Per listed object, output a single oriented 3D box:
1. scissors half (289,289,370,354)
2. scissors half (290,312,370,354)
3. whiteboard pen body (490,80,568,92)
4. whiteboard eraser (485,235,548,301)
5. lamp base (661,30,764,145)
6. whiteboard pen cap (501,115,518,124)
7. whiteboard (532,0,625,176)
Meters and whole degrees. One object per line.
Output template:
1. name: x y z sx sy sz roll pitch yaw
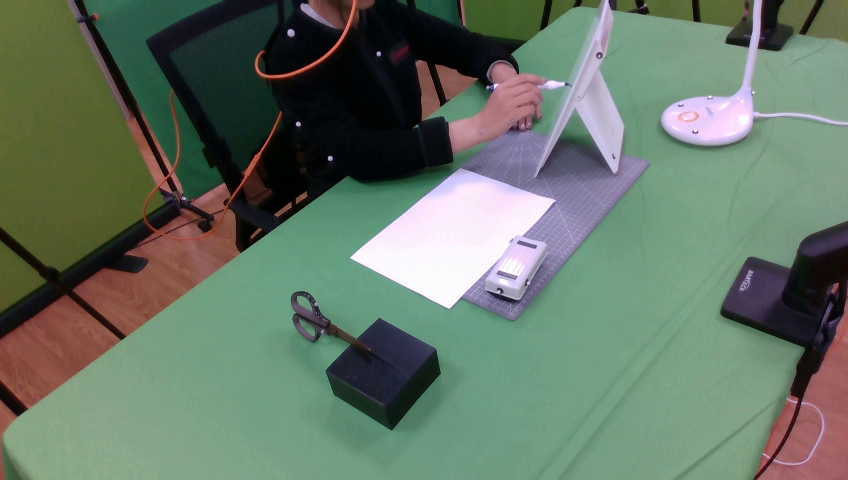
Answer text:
1. scissors half: -0.128 0.110 0.809 0.013 0.040 0.173 -17 36 -43
2. scissors half: -0.128 0.129 0.816 0.013 0.040 0.173 -23 21 -40
3. whiteboard pen body: 0.191 -0.280 1.098 0.140 0.017 0.017 -1 41 5
4. whiteboard eraser: 0.137 0.042 0.887 0.055 0.042 0.113 15 46 27
5. lamp base: 0.535 -0.287 1.096 0.179 0.181 0.159 -10 40 -4
6. whiteboard pen cap: 0.173 -0.244 1.225 0.033 0.018 0.018 -15 39 -26
7. whiteboard: 0.320 -0.258 1.050 0.144 0.306 0.217 21 45 5
